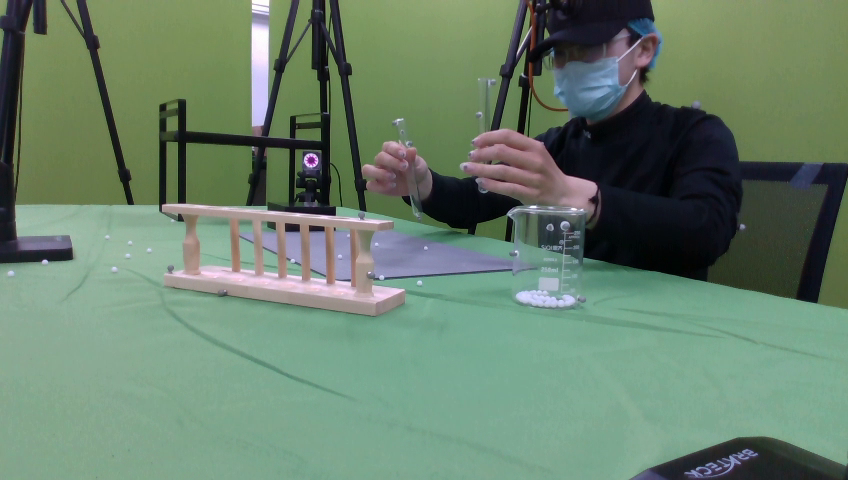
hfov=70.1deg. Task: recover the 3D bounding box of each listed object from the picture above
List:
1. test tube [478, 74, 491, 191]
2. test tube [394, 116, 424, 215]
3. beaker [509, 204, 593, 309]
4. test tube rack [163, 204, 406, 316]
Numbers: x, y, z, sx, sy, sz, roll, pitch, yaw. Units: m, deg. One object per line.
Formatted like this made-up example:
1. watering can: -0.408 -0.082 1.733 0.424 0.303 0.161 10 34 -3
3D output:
1. test tube: 0.078 -0.136 0.777 0.017 0.150 0.017 -2 18 1
2. test tube: -0.021 -0.110 0.902 0.017 0.150 0.017 -11 12 3
3. beaker: 0.126 0.015 0.613 0.084 0.100 0.074 1 7 -5
4. test tube rack: -0.141 0.013 0.601 0.241 0.085 0.067 5 8 21
